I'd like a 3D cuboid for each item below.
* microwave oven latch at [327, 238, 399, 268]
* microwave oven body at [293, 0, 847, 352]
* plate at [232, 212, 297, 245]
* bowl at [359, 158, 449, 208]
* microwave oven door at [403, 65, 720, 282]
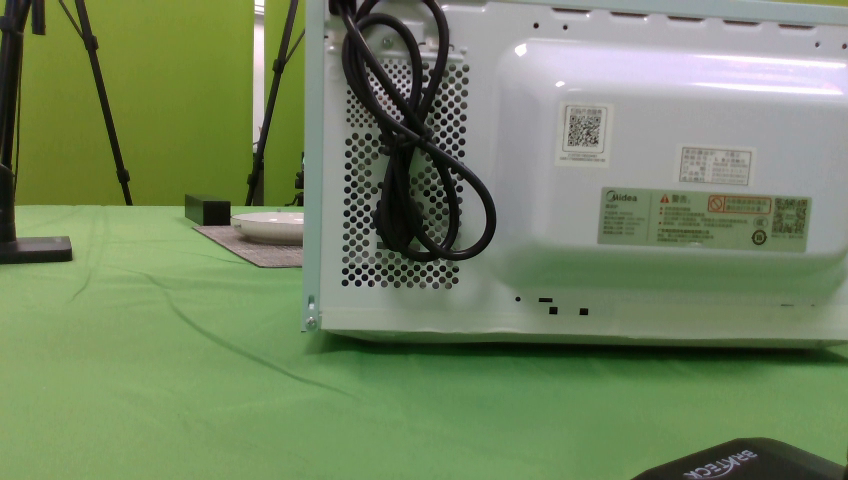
[{"bbox_3d":[-0.069,0.015,0.694,0.079,0.029,0.030,3,7,-3],"label":"microwave oven latch"},{"bbox_3d":[0.122,-0.055,0.550,0.442,0.260,0.325,3,7,-5],"label":"microwave oven body"},{"bbox_3d":[-0.214,-0.019,1.018,0.208,0.039,0.207,3,7,0],"label":"plate"},{"bbox_3d":[-0.032,-0.094,1.016,0.151,0.077,0.151,-2,3,0],"label":"bowl"},{"bbox_3d":[0.157,-0.081,0.724,0.356,0.243,0.039,3,8,5],"label":"microwave oven door"}]
